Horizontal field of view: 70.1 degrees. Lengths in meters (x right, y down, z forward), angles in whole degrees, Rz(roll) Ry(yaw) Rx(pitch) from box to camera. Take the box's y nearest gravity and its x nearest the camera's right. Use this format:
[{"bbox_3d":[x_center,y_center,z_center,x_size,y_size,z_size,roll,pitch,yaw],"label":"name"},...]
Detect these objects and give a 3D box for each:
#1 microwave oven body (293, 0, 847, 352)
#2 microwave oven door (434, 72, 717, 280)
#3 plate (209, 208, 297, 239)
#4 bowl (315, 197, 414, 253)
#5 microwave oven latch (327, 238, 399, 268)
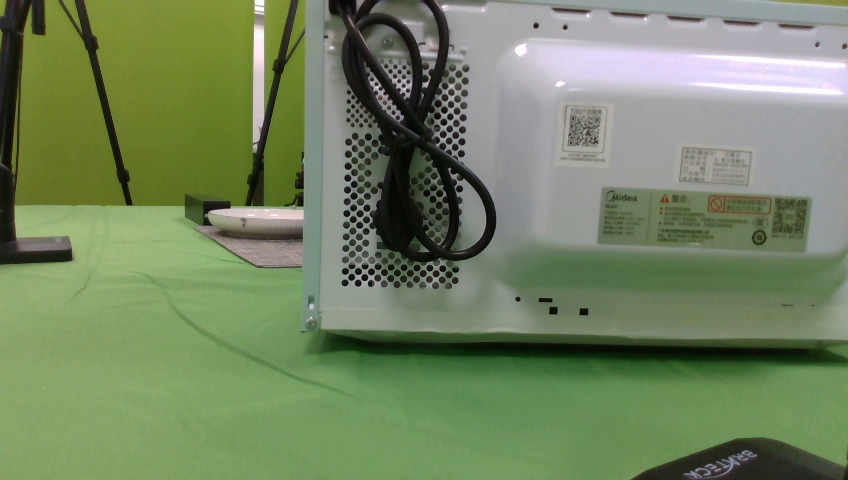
[{"bbox_3d":[0.122,-0.055,0.550,0.442,0.260,0.325,3,7,-5],"label":"microwave oven body"},{"bbox_3d":[0.180,-0.089,0.794,0.354,0.243,0.039,6,7,30],"label":"microwave oven door"},{"bbox_3d":[-0.271,-0.029,1.074,0.208,0.039,0.207,3,7,0],"label":"plate"},{"bbox_3d":[-0.092,-0.023,0.931,0.151,0.077,0.151,3,7,0],"label":"bowl"},{"bbox_3d":[-0.069,0.015,0.694,0.079,0.029,0.030,3,7,-3],"label":"microwave oven latch"}]
